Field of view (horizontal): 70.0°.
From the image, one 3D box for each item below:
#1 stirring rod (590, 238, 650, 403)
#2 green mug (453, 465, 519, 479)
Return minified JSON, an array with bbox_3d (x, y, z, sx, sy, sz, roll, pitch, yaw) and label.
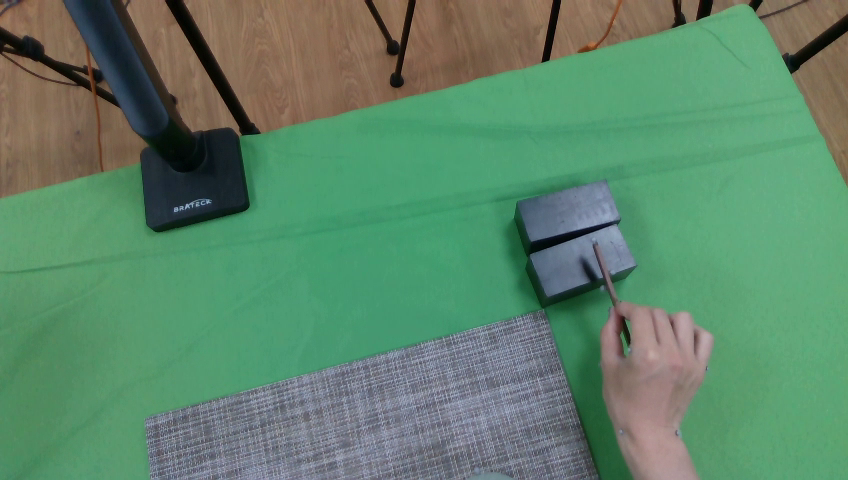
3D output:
[{"bbox_3d":[0.197,0.081,0.609,0.006,0.014,0.176,-19,92,5],"label":"stirring rod"},{"bbox_3d":[0.068,0.269,0.550,0.092,0.105,0.124,-31,73,-7],"label":"green mug"}]
